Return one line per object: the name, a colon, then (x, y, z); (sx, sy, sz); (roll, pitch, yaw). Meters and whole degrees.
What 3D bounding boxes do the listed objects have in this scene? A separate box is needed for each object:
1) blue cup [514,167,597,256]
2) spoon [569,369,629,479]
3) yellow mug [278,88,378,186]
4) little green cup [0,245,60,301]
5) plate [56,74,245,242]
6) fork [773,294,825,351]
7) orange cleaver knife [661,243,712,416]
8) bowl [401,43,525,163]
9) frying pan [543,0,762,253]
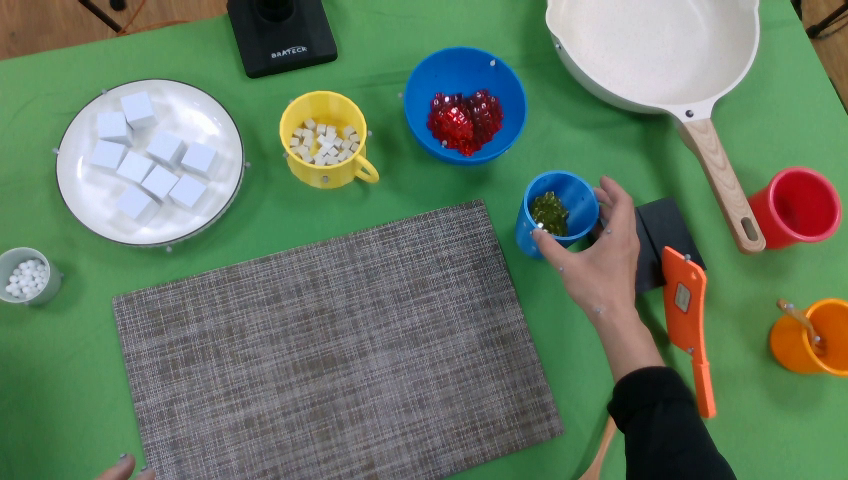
blue cup: (0.146, -0.025, 0.712); (0.093, 0.101, 0.092); (1, 69, -3)
spoon: (0.203, 0.237, 0.702); (0.041, 0.022, 0.193); (25, 74, 13)
yellow mug: (-0.109, -0.114, 0.731); (0.131, 0.064, 0.099); (36, 74, 2)
little green cup: (-0.435, 0.039, 0.665); (0.062, 0.039, 0.061); (2, 76, -7)
plate: (-0.316, -0.094, 0.715); (0.208, 0.039, 0.206); (2, 76, -6)
fork: (0.436, 0.096, 0.700); (0.209, 0.018, 0.028); (29, 69, -44)
orange cleaver knife: (0.309, 0.106, 0.717); (0.012, 0.076, 0.212); (-17, 107, -11)
bowl: (0.043, -0.157, 0.754); (0.151, 0.077, 0.150); (2, 76, -6)
frying pan: (0.322, -0.207, 0.787); (0.307, 0.103, 0.484); (-11, 69, -8)
